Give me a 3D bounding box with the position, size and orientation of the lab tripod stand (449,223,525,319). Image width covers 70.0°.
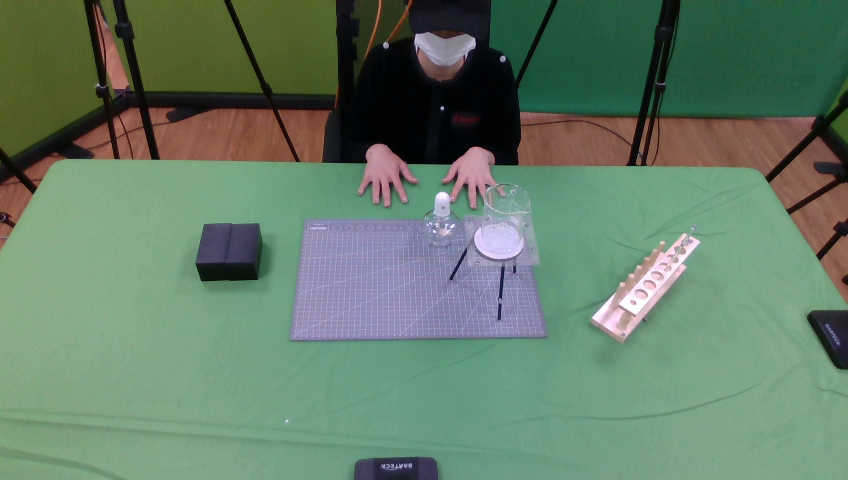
[{"bbox_3d":[0.120,0.046,1.080,0.148,0.132,0.147,1,47,-1],"label":"lab tripod stand"}]

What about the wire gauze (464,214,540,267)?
[{"bbox_3d":[0.131,-0.001,1.035,0.121,0.011,0.124,1,44,-2],"label":"wire gauze"}]

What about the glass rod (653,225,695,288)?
[{"bbox_3d":[0.432,0.037,1.057,0.008,0.200,0.008,1,54,-1],"label":"glass rod"}]

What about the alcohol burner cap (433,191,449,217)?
[{"bbox_3d":[0.033,-0.070,1.150,0.034,0.048,0.033,0,45,0],"label":"alcohol burner cap"}]

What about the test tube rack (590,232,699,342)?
[{"bbox_3d":[0.407,0.074,1.112,0.066,0.085,0.242,35,53,26],"label":"test tube rack"}]

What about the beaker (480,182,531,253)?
[{"bbox_3d":[0.133,-0.033,0.998,0.083,0.101,0.074,26,51,22],"label":"beaker"}]

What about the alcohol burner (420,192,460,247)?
[{"bbox_3d":[0.032,-0.045,1.176,0.078,0.120,0.077,2,44,-1],"label":"alcohol burner"}]
